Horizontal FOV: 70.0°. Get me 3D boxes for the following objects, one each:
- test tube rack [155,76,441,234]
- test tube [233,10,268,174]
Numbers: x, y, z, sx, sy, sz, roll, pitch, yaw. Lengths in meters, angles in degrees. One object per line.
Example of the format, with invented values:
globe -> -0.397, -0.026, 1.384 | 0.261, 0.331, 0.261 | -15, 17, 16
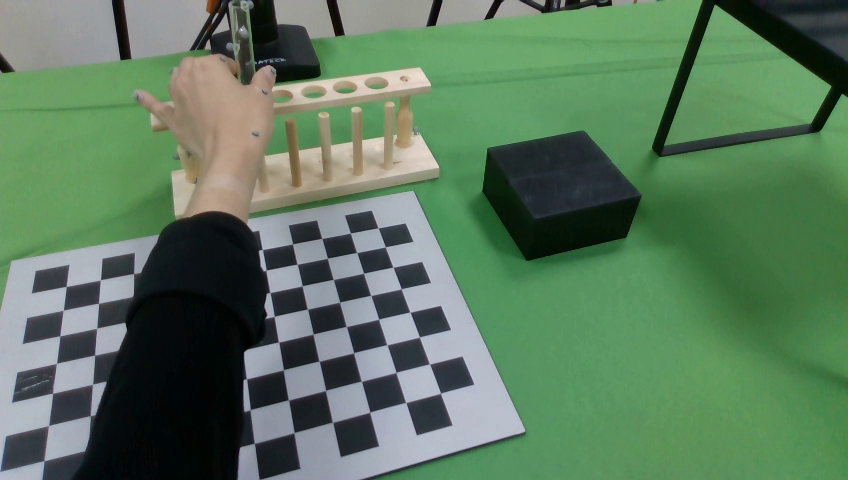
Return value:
test tube rack -> -0.107, -0.081, 0.557 | 0.243, 0.086, 0.066 | -12, 45, -15
test tube -> -0.149, -0.122, 0.526 | 0.017, 0.151, 0.017 | 4, 39, -2
